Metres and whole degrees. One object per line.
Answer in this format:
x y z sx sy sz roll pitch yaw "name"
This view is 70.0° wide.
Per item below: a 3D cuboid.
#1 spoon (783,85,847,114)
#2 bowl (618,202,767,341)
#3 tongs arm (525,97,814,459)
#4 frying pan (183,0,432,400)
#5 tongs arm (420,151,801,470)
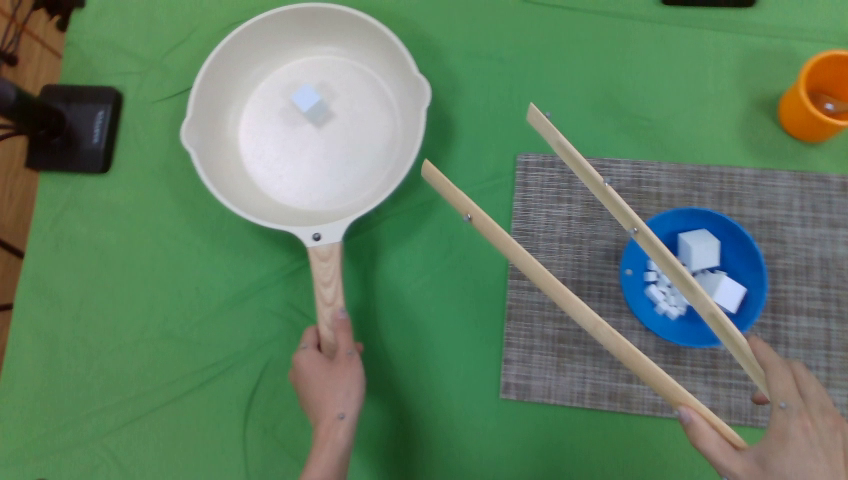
0.489 -0.147 0.661 0.041 0.192 0.022 -48 122 -6 "spoon"
0.287 0.039 0.676 0.151 0.077 0.150 -1 79 5 "bowl"
0.190 0.013 0.532 0.051 0.027 0.381 -27 65 -21 "tongs arm"
-0.125 -0.056 0.720 0.307 0.103 0.484 -9 71 4 "frying pan"
0.132 0.047 0.506 0.028 0.028 0.385 -36 68 -29 "tongs arm"
